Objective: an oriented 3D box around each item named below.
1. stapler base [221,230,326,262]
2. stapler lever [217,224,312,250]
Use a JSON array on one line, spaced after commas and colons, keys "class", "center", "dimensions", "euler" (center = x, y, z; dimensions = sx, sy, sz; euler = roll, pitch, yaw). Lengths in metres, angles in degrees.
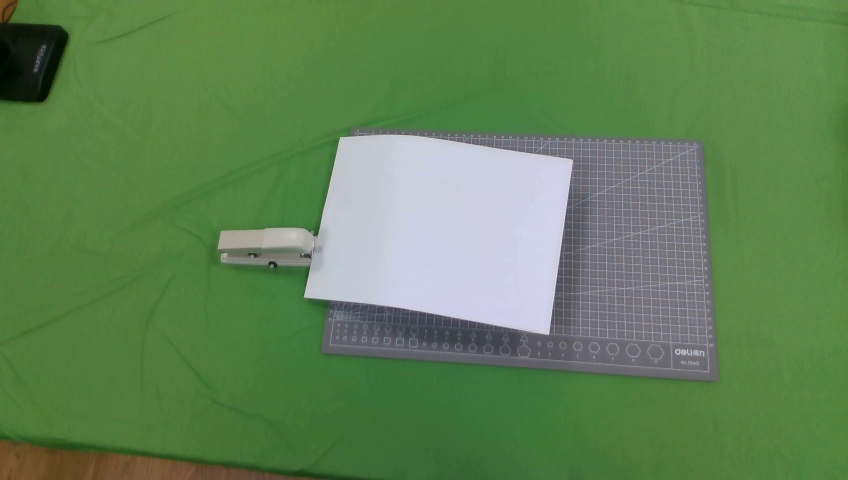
[{"class": "stapler base", "center": [-0.188, 0.003, 0.744], "dimensions": [0.130, 0.024, 0.041], "euler": [2, 72, 5]}, {"class": "stapler lever", "center": [-0.192, -0.003, 0.721], "dimensions": [0.118, 0.040, 0.026], "euler": [2, 72, 4]}]
